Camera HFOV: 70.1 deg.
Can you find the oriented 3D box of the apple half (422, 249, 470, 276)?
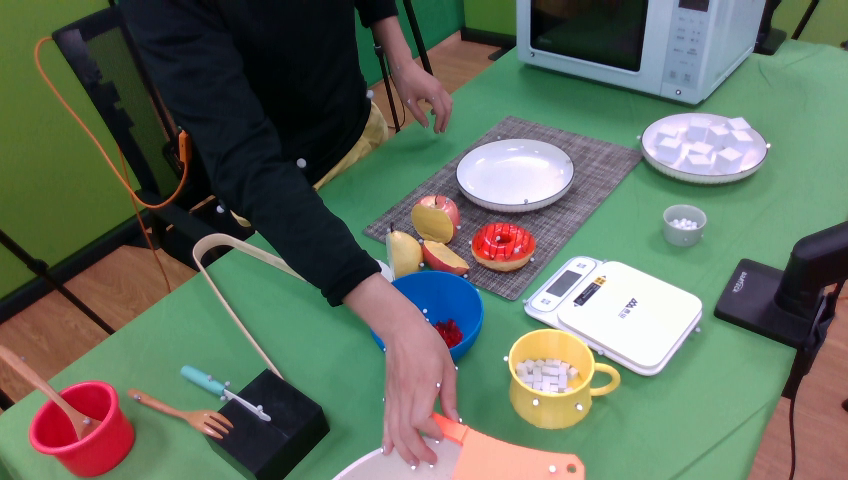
[{"bbox_3d":[0.024,0.039,0.911,0.080,0.082,0.033,22,93,30],"label":"apple half"}]

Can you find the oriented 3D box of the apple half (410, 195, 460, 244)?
[{"bbox_3d":[0.025,-0.038,0.970,0.080,0.075,0.053,12,40,28],"label":"apple half"}]

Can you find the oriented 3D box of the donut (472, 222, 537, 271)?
[{"bbox_3d":[0.123,0.009,0.923,0.099,0.048,0.098,-4,37,3],"label":"donut"}]

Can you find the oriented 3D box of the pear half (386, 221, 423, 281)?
[{"bbox_3d":[-0.029,0.013,0.897,0.056,0.110,0.076,-17,46,-11],"label":"pear half"}]

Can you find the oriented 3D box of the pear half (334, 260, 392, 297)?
[{"bbox_3d":[-0.093,0.063,0.907,0.088,0.031,0.070,-8,40,-24],"label":"pear half"}]

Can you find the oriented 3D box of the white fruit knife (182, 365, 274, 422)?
[{"bbox_3d":[-0.245,0.188,0.747,0.205,0.027,0.016,9,41,41],"label":"white fruit knife"}]

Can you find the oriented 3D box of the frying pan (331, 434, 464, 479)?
[{"bbox_3d":[-0.089,0.306,0.564,0.487,0.103,0.306,10,41,7],"label":"frying pan"}]

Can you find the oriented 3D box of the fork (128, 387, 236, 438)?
[{"bbox_3d":[-0.305,0.207,0.744,0.206,0.019,0.028,3,45,36],"label":"fork"}]

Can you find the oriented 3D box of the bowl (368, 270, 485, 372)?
[{"bbox_3d":[0.007,0.118,0.791,0.151,0.077,0.150,-5,39,4],"label":"bowl"}]

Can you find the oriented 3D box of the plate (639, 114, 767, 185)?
[{"bbox_3d":[0.489,-0.157,1.074,0.207,0.039,0.206,-4,40,4],"label":"plate"}]

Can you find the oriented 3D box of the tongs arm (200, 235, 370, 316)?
[{"bbox_3d":[-0.209,0.062,0.924,0.381,0.026,0.051,23,54,32],"label":"tongs arm"}]

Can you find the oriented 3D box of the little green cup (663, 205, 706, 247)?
[{"bbox_3d":[0.396,-0.020,0.926,0.061,0.039,0.061,-4,40,4],"label":"little green cup"}]

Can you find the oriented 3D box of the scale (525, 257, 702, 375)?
[{"bbox_3d":[0.254,0.091,0.821,0.199,0.032,0.149,28,51,35],"label":"scale"}]

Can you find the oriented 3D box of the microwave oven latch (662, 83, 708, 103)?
[{"bbox_3d":[0.517,-0.296,1.204,0.078,0.029,0.030,27,52,35],"label":"microwave oven latch"}]

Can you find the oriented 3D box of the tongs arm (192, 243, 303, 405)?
[{"bbox_3d":[-0.268,0.110,0.883,0.028,0.028,0.384,-36,47,-18],"label":"tongs arm"}]

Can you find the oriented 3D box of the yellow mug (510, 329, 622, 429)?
[{"bbox_3d":[0.169,0.164,0.721,0.130,0.064,0.099,0,40,8],"label":"yellow mug"}]

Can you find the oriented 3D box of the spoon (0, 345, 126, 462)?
[{"bbox_3d":[-0.434,0.192,0.720,0.194,0.021,0.042,47,52,-6],"label":"spoon"}]

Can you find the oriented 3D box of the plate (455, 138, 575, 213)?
[{"bbox_3d":[0.159,-0.111,1.063,0.209,0.038,0.208,-4,40,4],"label":"plate"}]

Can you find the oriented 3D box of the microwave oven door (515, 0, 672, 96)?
[{"bbox_3d":[0.343,-0.455,1.259,0.353,0.245,0.039,26,51,33],"label":"microwave oven door"}]

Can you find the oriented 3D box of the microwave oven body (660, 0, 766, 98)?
[{"bbox_3d":[0.472,-0.513,1.317,0.438,0.261,0.327,26,51,34],"label":"microwave oven body"}]

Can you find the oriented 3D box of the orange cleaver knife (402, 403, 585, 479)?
[{"bbox_3d":[0.063,0.222,0.610,0.210,0.012,0.077,14,48,23],"label":"orange cleaver knife"}]
